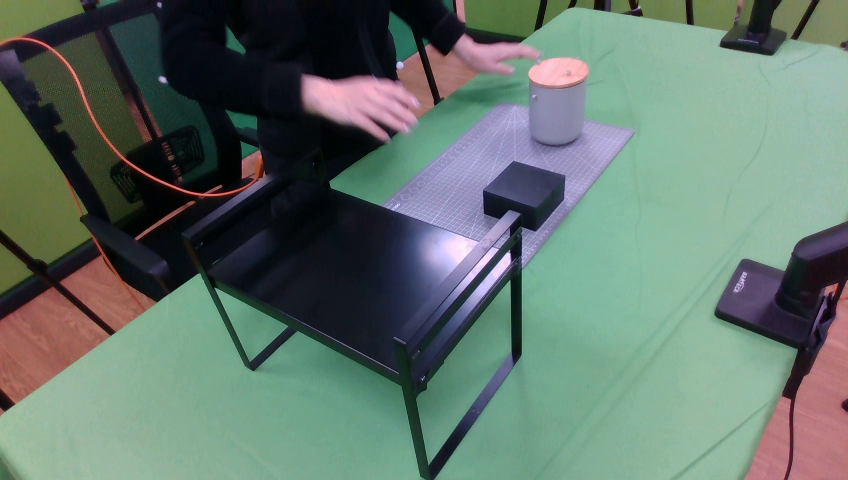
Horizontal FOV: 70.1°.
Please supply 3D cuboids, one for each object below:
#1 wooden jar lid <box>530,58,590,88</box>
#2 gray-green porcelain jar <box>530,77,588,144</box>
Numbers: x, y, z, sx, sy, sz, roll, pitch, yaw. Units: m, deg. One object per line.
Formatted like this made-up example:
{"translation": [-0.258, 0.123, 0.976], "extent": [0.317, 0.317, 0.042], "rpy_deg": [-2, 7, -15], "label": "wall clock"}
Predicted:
{"translation": [0.249, -0.302, 1.110], "extent": [0.108, 0.021, 0.108], "rpy_deg": [-6, 40, 6], "label": "wooden jar lid"}
{"translation": [0.254, -0.255, 1.151], "extent": [0.106, 0.127, 0.105], "rpy_deg": [-5, 41, 4], "label": "gray-green porcelain jar"}
